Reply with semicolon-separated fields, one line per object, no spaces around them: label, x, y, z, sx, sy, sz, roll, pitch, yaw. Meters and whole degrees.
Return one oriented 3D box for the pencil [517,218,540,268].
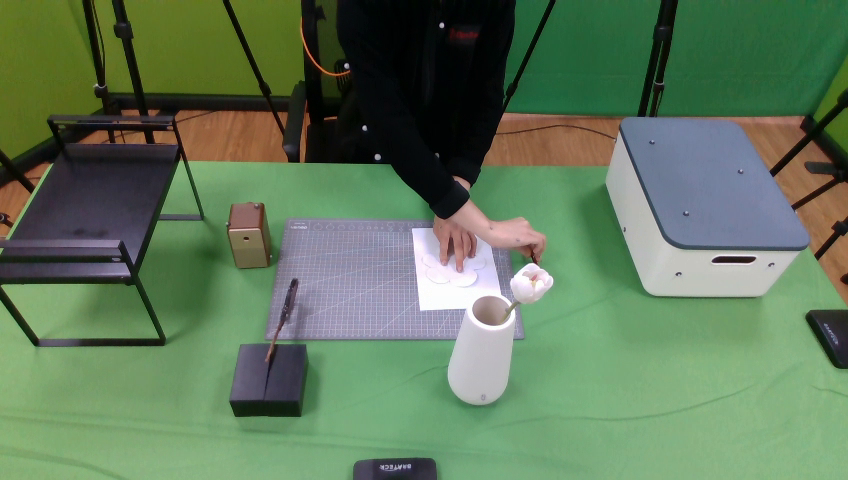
pencil;0.209;0.019;1.185;0.012;0.012;0.192;-3;40;-7

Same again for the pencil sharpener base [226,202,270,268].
pencil sharpener base;-0.323;-0.010;1.123;0.061;0.107;0.076;-3;46;-7

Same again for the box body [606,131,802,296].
box body;0.530;-0.067;1.204;0.254;0.161;0.361;0;46;-4

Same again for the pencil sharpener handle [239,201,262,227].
pencil sharpener handle;-0.325;-0.056;1.150;0.036;0.068;0.030;-13;46;3

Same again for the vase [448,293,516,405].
vase;0.091;0.169;0.921;0.098;0.201;0.097;3;47;-3

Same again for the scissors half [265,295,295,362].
scissors half;-0.239;0.143;1.005;0.013;0.040;0.174;17;28;-7

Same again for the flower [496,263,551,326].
flower;0.102;0.120;0.853;0.044;0.363;0.038;-1;64;-10

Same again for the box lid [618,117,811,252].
box lid;0.534;-0.117;1.149;0.263;0.015;0.369;0;47;-3

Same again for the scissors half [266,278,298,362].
scissors half;-0.234;0.127;0.993;0.013;0.040;0.174;12;46;-4
